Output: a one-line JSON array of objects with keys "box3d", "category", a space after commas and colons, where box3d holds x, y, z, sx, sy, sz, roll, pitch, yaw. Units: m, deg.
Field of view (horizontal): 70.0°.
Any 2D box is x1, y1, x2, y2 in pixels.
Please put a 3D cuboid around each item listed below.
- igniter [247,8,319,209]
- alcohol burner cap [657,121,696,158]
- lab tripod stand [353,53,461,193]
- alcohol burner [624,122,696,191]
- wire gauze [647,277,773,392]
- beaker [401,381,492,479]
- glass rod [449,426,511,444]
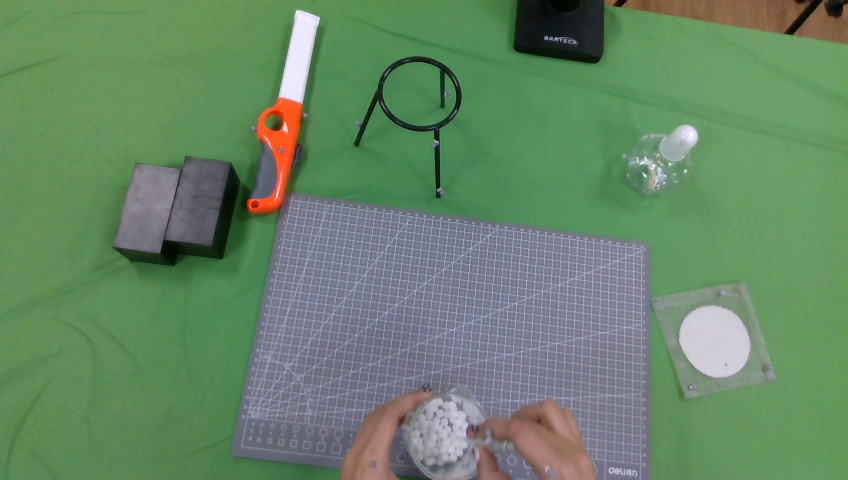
[{"box3d": [-0.169, -0.164, 0.743, 0.057, 0.025, 0.275, 14, 72, -17], "category": "igniter"}, {"box3d": [0.292, -0.117, 0.693, 0.034, 0.048, 0.033, 0, 76, -2], "category": "alcohol burner cap"}, {"box3d": [-0.010, -0.143, 0.698, 0.148, 0.132, 0.147, 2, 71, -4], "category": "lab tripod stand"}, {"box3d": [0.288, -0.106, 0.727, 0.078, 0.119, 0.077, 2, 71, -5], "category": "alcohol burner"}, {"box3d": [0.343, 0.111, 0.722, 0.125, 0.011, 0.120, -9, 74, -6], "category": "wire gauze"}, {"box3d": [0.017, 0.174, 0.566, 0.074, 0.100, 0.083, 18, 74, -3], "category": "beaker"}, {"box3d": [0.043, 0.162, 0.508, 0.008, 0.200, 0.008, 2, 75, -8], "category": "glass rod"}]
